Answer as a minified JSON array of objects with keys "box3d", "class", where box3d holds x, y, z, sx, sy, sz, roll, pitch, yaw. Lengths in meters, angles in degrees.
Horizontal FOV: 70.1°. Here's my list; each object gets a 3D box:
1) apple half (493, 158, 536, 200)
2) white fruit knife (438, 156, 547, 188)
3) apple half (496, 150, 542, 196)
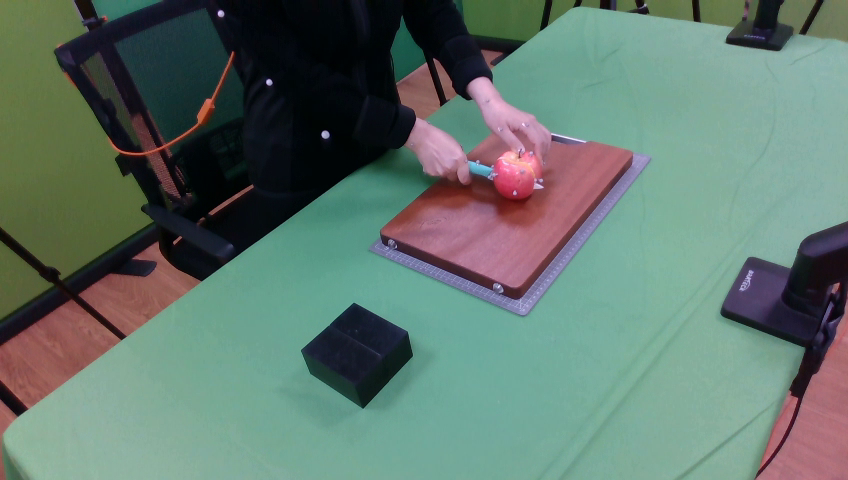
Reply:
[{"box3d":[0.141,-0.091,0.985,0.080,0.081,0.033,19,50,30],"class":"apple half"},{"box3d":[0.111,-0.114,1.017,0.206,0.027,0.016,17,51,29],"class":"white fruit knife"},{"box3d":[0.163,-0.114,1.008,0.080,0.075,0.053,15,38,33],"class":"apple half"}]
